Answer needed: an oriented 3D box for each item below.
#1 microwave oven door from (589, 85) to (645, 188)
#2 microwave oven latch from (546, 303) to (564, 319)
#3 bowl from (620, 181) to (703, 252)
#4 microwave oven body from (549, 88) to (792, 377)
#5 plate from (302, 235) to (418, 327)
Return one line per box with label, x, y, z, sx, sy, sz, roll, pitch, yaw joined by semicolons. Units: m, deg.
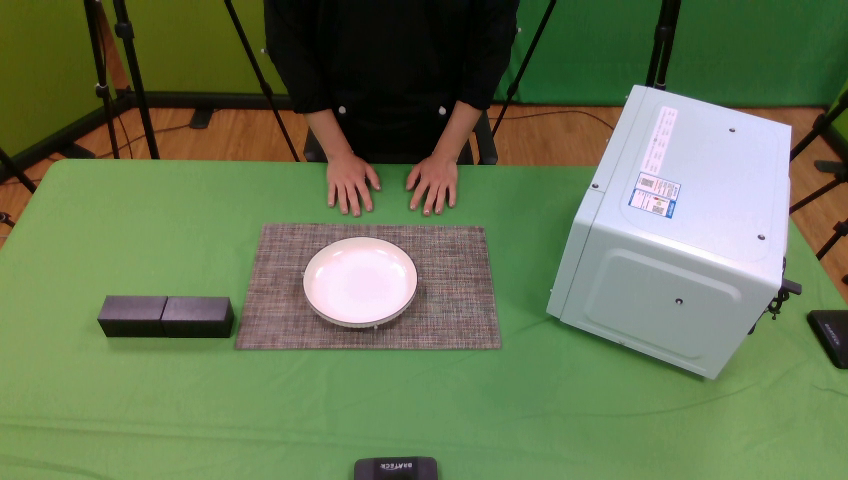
microwave oven door;0.342;-0.107;1.149;0.039;0.245;0.354;20;48;15
microwave oven latch;0.242;0.102;1.081;0.030;0.029;0.079;21;48;17
bowl;0.433;-0.031;1.140;0.151;0.077;0.150;4;49;-4
microwave oven body;0.456;-0.028;1.088;0.325;0.261;0.440;20;47;16
plate;-0.114;0.077;1.098;0.208;0.039;0.206;2;46;-2
